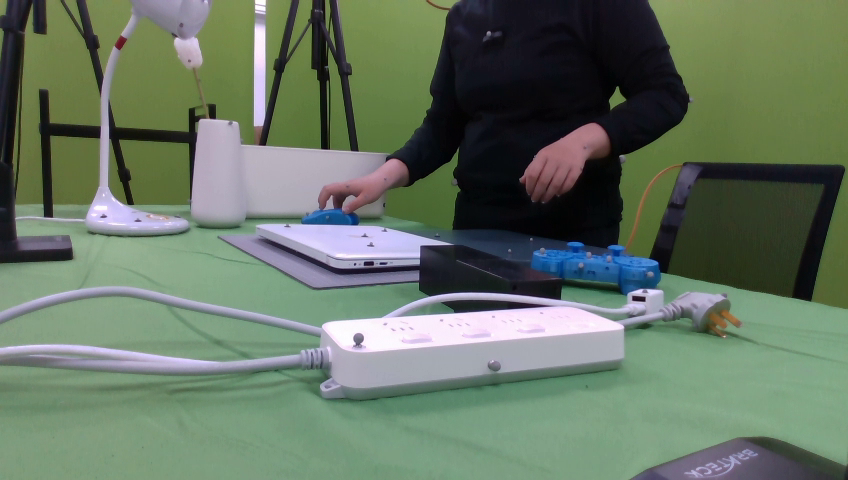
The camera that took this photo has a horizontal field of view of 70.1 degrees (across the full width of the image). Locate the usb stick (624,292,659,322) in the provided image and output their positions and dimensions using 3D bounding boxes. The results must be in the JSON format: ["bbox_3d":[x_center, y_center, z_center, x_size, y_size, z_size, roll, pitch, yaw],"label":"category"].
[{"bbox_3d":[0.211,0.064,0.580,0.021,0.027,0.059,-1,-4,36],"label":"usb stick"}]

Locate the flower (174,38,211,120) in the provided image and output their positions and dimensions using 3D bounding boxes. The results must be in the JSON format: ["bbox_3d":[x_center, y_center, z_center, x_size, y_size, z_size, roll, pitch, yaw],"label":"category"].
[{"bbox_3d":[-0.401,-0.207,1.141,0.038,0.361,0.044,-14,3,44],"label":"flower"}]

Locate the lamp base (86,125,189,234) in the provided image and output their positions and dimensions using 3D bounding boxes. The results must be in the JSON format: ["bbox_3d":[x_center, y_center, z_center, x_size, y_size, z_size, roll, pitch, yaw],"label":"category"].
[{"bbox_3d":[-0.497,-0.105,1.027,0.179,0.180,0.160,1,7,2],"label":"lamp base"}]

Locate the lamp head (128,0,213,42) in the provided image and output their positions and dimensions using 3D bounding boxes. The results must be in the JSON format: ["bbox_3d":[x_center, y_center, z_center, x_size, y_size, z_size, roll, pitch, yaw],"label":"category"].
[{"bbox_3d":[-0.423,-0.394,0.980,0.123,0.112,0.112,20,7,-3],"label":"lamp head"}]

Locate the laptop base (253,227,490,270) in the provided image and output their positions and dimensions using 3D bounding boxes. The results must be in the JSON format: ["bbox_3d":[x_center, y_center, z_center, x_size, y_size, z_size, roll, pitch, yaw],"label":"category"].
[{"bbox_3d":[-0.096,0.012,0.911,0.237,0.023,0.352,3,6,-32],"label":"laptop base"}]

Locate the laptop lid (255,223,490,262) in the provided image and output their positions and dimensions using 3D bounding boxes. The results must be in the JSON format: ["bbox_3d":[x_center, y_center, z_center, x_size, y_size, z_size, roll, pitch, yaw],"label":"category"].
[{"bbox_3d":[-0.093,0.000,0.911,0.243,0.013,0.355,1,7,-30],"label":"laptop lid"}]

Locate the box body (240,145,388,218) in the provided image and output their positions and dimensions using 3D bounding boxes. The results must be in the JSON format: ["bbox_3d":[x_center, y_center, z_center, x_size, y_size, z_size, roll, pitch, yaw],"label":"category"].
[{"bbox_3d":[-0.297,-0.143,1.474,0.366,0.160,0.253,-1,9,-30],"label":"box body"}]

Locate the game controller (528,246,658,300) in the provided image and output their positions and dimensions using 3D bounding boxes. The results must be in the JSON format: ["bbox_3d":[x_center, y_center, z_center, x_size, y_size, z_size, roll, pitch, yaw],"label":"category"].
[{"bbox_3d":[0.202,0.036,0.733,0.155,0.051,0.097,5,10,19],"label":"game controller"}]

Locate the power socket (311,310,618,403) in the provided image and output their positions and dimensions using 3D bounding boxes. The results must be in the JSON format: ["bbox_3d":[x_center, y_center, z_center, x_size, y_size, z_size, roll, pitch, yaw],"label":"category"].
[{"bbox_3d":[0.034,0.074,0.415,0.228,0.032,0.072,-1,7,-24],"label":"power socket"}]

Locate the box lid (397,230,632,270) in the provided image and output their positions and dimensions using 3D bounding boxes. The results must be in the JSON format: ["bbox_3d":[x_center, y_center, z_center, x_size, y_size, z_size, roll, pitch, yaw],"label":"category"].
[{"bbox_3d":[0.140,0.012,1.045,0.265,0.015,0.369,-1,8,-32],"label":"box lid"}]

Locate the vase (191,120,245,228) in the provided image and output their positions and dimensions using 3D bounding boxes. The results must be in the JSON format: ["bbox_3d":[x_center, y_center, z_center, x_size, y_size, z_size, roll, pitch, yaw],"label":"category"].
[{"bbox_3d":[-0.389,-0.124,1.142,0.098,0.200,0.098,3,9,0],"label":"vase"}]

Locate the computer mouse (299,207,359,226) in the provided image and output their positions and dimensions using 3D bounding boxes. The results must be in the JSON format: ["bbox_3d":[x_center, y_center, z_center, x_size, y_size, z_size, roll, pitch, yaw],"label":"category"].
[{"bbox_3d":[-0.195,-0.046,1.241,0.117,0.041,0.063,0,10,11],"label":"computer mouse"}]

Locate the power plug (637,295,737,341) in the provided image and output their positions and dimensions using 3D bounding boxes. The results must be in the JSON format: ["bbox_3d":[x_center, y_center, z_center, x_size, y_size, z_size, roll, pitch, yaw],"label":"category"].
[{"bbox_3d":[0.235,0.077,0.535,0.072,0.035,0.052,-34,40,-4],"label":"power plug"}]
